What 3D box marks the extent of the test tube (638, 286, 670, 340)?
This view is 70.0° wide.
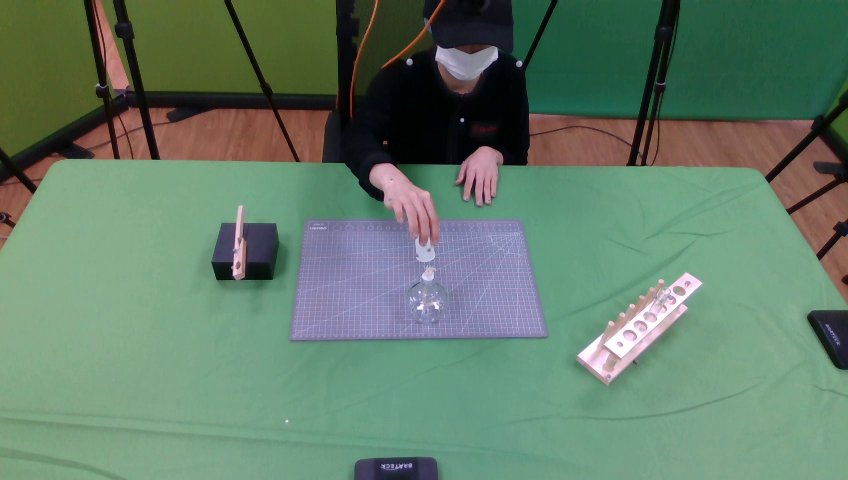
[{"bbox_3d":[0.373,0.123,0.994,0.017,0.151,0.017,0,51,0],"label":"test tube"}]

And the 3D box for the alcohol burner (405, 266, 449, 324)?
[{"bbox_3d":[0.005,0.089,1.043,0.078,0.120,0.077,1,45,-1],"label":"alcohol burner"}]

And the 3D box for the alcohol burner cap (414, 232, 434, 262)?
[{"bbox_3d":[-0.002,0.009,0.971,0.034,0.048,0.033,-5,43,5],"label":"alcohol burner cap"}]

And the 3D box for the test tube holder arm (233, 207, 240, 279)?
[{"bbox_3d":[-0.341,0.002,1.106,0.013,0.015,0.177,-11,47,-8],"label":"test tube holder arm"}]

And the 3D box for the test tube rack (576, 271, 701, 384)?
[{"bbox_3d":[0.373,0.138,1.047,0.242,0.085,0.066,-31,55,-29],"label":"test tube rack"}]

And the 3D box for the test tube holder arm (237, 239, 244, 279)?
[{"bbox_3d":[-0.325,0.032,1.076,0.010,0.015,0.087,-10,47,-7],"label":"test tube holder arm"}]
